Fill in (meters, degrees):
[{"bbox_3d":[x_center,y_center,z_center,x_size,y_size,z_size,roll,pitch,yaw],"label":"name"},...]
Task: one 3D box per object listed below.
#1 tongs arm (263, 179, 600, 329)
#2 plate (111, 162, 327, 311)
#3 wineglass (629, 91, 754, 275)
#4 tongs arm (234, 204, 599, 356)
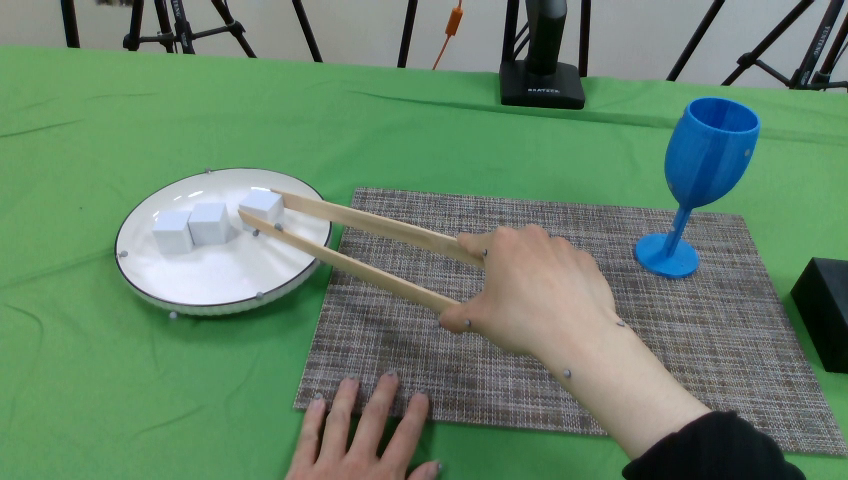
[{"bbox_3d":[-0.019,-0.001,0.541,0.384,0.028,0.028,20,49,34],"label":"tongs arm"},{"bbox_3d":[-0.202,-0.004,0.617,0.209,0.038,0.207,1,43,-1],"label":"plate"},{"bbox_3d":[0.253,-0.052,0.587,0.074,0.174,0.073,1,43,-1],"label":"wineglass"},{"bbox_3d":[-0.035,0.017,0.527,0.381,0.027,0.050,23,55,36],"label":"tongs arm"}]
